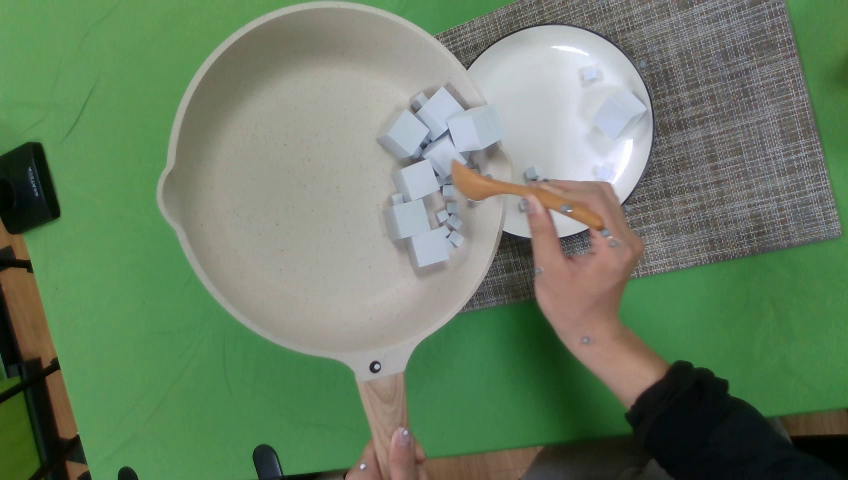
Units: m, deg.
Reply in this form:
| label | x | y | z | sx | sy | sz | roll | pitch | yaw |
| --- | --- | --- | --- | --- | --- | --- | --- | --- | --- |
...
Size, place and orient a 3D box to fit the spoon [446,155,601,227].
| label | x | y | z | sx | sy | sz | roll | pitch | yaw |
| --- | --- | --- | --- | --- | --- | --- | --- | --- | --- |
| spoon | 0.068 | -0.040 | 0.472 | 0.192 | 0.021 | 0.042 | 23 | 144 | 56 |

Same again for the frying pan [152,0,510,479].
| label | x | y | z | sx | sy | sz | roll | pitch | yaw |
| --- | --- | --- | --- | --- | --- | --- | --- | --- | --- |
| frying pan | -0.051 | 0.052 | 0.519 | 0.102 | 0.308 | 0.487 | -17 | 82 | 64 |

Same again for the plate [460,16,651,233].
| label | x | y | z | sx | sy | sz | roll | pitch | yaw |
| --- | --- | --- | --- | --- | --- | --- | --- | --- | --- |
| plate | 0.117 | -0.112 | 0.605 | 0.207 | 0.039 | 0.208 | 3 | 98 | 22 |
